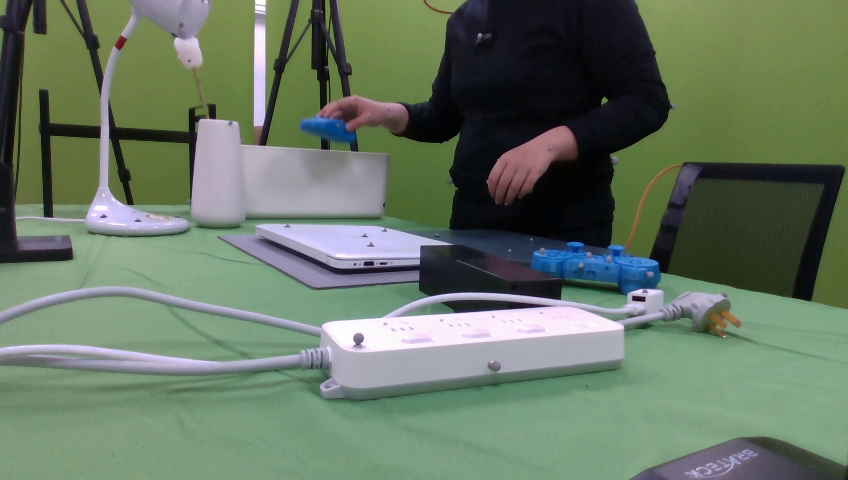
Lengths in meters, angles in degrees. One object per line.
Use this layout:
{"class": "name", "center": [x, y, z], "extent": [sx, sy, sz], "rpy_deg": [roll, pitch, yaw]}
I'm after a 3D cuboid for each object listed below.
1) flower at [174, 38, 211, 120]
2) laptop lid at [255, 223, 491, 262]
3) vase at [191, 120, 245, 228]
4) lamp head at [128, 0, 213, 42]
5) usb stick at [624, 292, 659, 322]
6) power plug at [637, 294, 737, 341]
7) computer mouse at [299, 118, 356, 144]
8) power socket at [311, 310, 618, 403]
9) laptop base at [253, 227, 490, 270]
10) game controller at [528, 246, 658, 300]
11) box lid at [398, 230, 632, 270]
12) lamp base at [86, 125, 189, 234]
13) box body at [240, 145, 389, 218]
{"class": "flower", "center": [-0.401, -0.207, 1.141], "extent": [0.038, 0.361, 0.044], "rpy_deg": [-14, 3, 44]}
{"class": "laptop lid", "center": [-0.093, 0.000, 0.911], "extent": [0.243, 0.013, 0.355], "rpy_deg": [1, 7, -30]}
{"class": "vase", "center": [-0.389, -0.124, 1.142], "extent": [0.098, 0.200, 0.098], "rpy_deg": [3, 9, 0]}
{"class": "lamp head", "center": [-0.423, -0.394, 0.980], "extent": [0.123, 0.112, 0.112], "rpy_deg": [20, 7, -3]}
{"class": "usb stick", "center": [0.211, 0.064, 0.580], "extent": [0.021, 0.027, 0.059], "rpy_deg": [-1, -4, 36]}
{"class": "power plug", "center": [0.234, 0.077, 0.535], "extent": [0.072, 0.035, 0.052], "rpy_deg": [-33, 40, -5]}
{"class": "computer mouse", "center": [-0.201, -0.231, 1.268], "extent": [0.118, 0.041, 0.062], "rpy_deg": [8, 0, -36]}
{"class": "power socket", "center": [0.034, 0.074, 0.415], "extent": [0.228, 0.032, 0.072], "rpy_deg": [-1, 7, -24]}
{"class": "laptop base", "center": [-0.096, 0.012, 0.911], "extent": [0.237, 0.023, 0.352], "rpy_deg": [3, 6, -32]}
{"class": "game controller", "center": [0.202, 0.036, 0.733], "extent": [0.155, 0.051, 0.097], "rpy_deg": [5, 10, 20]}
{"class": "box lid", "center": [0.140, 0.012, 1.045], "extent": [0.265, 0.015, 0.369], "rpy_deg": [-1, 8, -32]}
{"class": "lamp base", "center": [-0.497, -0.105, 1.027], "extent": [0.179, 0.180, 0.160], "rpy_deg": [1, 7, 2]}
{"class": "box body", "center": [-0.297, -0.143, 1.474], "extent": [0.366, 0.160, 0.253], "rpy_deg": [-1, 9, -30]}
